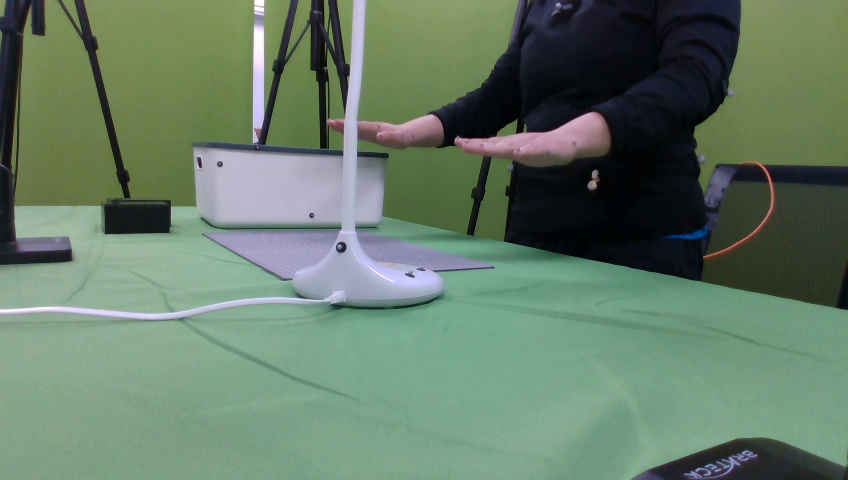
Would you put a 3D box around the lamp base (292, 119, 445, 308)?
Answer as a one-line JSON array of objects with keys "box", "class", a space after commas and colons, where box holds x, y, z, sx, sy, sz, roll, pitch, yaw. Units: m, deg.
[{"box": [-0.056, -0.030, 0.616, 0.160, 0.180, 0.179, 4, 10, 8], "class": "lamp base"}]

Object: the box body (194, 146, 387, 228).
[{"box": [-0.288, -0.118, 1.291, 0.366, 0.160, 0.253, -1, 8, -28], "class": "box body"}]

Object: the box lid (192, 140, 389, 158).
[{"box": [-0.287, -0.190, 1.281, 0.373, 0.015, 0.262, 0, 8, -28], "class": "box lid"}]

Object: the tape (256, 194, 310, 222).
[{"box": [-0.301, -0.069, 1.294, 0.117, 0.052, 0.117, 2, 7, 0], "class": "tape"}]
